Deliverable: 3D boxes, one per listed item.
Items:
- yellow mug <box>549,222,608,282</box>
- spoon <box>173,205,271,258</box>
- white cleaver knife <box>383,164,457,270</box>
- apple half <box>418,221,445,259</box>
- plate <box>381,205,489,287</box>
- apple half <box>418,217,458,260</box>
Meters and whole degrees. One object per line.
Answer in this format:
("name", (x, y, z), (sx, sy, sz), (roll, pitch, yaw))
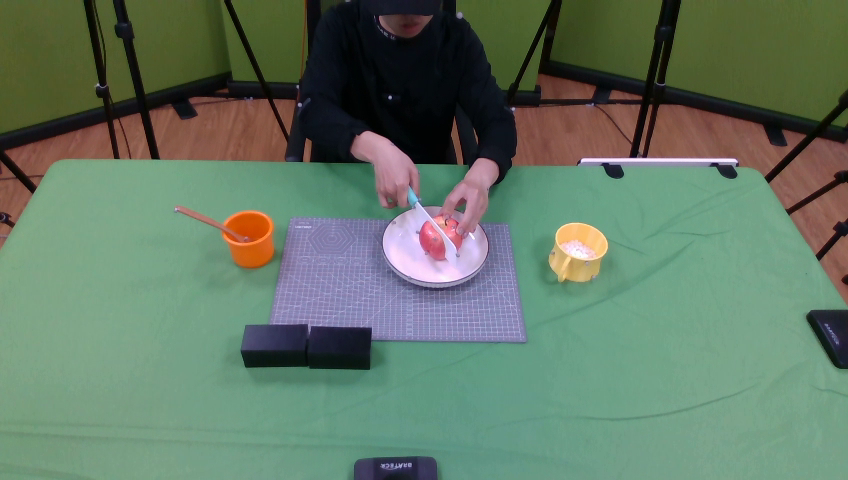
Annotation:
("yellow mug", (0.287, 0.031, 1.159), (0.099, 0.064, 0.130), (27, 51, 21))
("spoon", (-0.362, -0.017, 1.098), (0.021, 0.195, 0.041), (-32, 42, 27))
("white cleaver knife", (-0.012, -0.049, 1.170), (0.021, 0.066, 0.284), (-20, 50, -21))
("apple half", (0.007, 0.007, 1.141), (0.033, 0.082, 0.081), (-24, 52, -19))
("plate", (0.020, 0.015, 1.170), (0.209, 0.038, 0.208), (2, 46, -2))
("apple half", (0.033, -0.005, 1.154), (0.053, 0.075, 0.080), (-20, 42, -41))
